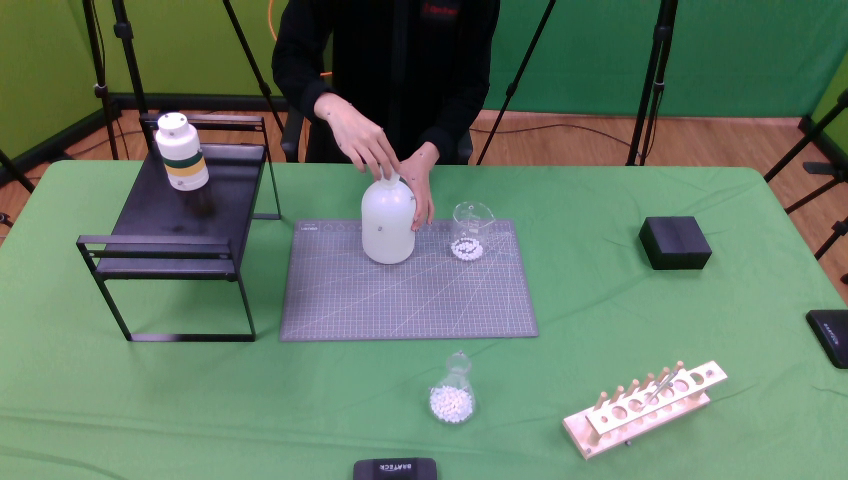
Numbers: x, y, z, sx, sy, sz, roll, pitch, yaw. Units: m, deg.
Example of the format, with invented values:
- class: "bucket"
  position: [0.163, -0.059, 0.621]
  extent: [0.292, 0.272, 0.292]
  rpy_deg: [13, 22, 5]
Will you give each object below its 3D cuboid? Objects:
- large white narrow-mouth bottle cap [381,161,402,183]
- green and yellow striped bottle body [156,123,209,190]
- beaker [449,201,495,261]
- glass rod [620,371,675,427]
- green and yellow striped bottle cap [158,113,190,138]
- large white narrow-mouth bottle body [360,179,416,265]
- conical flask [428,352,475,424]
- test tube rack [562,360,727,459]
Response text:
- class: "large white narrow-mouth bottle cap"
  position: [-0.056, -0.118, 1.049]
  extent: [0.038, 0.024, 0.037]
  rpy_deg: [4, 45, -4]
- class: "green and yellow striped bottle body"
  position: [-0.395, -0.145, 0.989]
  extent: [0.063, 0.120, 0.063]
  rpy_deg: [2, 46, -2]
- class: "beaker"
  position: [0.089, -0.014, 1.160]
  extent: [0.084, 0.101, 0.073]
  rpy_deg: [9, 47, 4]
- class: "glass rod"
  position: [0.316, 0.230, 0.863]
  extent: [0.008, 0.200, 0.008]
  rpy_deg: [3, 54, -3]
- class: "green and yellow striped bottle cap"
  position: [-0.393, -0.180, 0.951]
  extent: [0.045, 0.020, 0.045]
  rpy_deg: [2, 44, -2]
- class: "large white narrow-mouth bottle body"
  position: [-0.066, -0.050, 1.119]
  extent: [0.102, 0.195, 0.101]
  rpy_deg: [4, 45, -4]
- class: "conical flask"
  position: [0.046, 0.220, 0.920]
  extent: [0.075, 0.122, 0.075]
  rpy_deg: [2, 46, -2]
- class: "test tube rack"
  position: [0.341, 0.247, 0.940]
  extent: [0.243, 0.085, 0.066]
  rpy_deg: [-16, 49, -18]
